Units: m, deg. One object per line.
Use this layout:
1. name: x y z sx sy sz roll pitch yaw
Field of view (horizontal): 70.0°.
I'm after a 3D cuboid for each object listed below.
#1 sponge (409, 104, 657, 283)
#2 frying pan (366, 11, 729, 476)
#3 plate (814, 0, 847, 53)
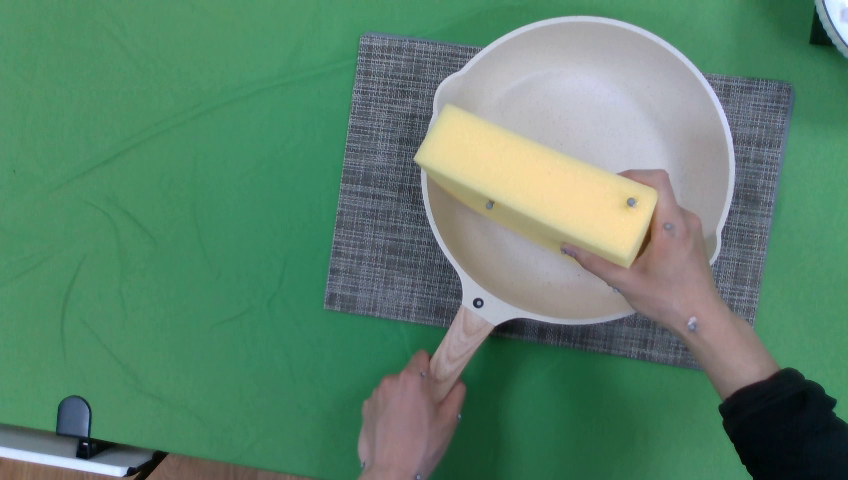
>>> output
1. sponge: 0.101 -0.041 0.553 0.205 0.119 0.061 27 85 25
2. frying pan: 0.083 0.017 0.595 0.306 0.103 0.487 34 86 5
3. plate: 0.450 -0.244 0.542 0.207 0.039 0.207 0 92 4
